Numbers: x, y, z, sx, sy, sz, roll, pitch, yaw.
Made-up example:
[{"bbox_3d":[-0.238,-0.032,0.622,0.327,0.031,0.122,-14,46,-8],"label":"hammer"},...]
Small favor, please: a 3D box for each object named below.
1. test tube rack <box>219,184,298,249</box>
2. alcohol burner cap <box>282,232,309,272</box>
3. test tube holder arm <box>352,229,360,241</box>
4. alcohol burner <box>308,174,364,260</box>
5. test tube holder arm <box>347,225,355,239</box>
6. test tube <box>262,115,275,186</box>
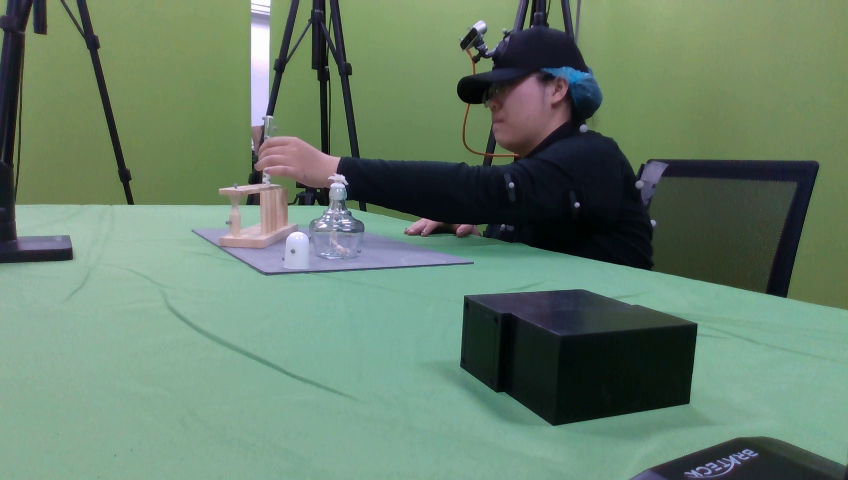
[{"bbox_3d":[-0.266,-0.046,1.002,0.067,0.085,0.242,2,7,0],"label":"test tube rack"},{"bbox_3d":[-0.157,0.014,0.740,0.034,0.048,0.034,3,6,0],"label":"alcohol burner cap"},{"bbox_3d":[-0.119,-0.010,1.040,0.010,0.015,0.087,29,1,-10],"label":"test tube holder arm"},{"bbox_3d":[-0.121,-0.033,0.841,0.078,0.119,0.078,3,5,0],"label":"alcohol burner"},{"bbox_3d":[-0.130,-0.016,1.084,0.013,0.015,0.178,30,1,-9],"label":"test tube holder arm"},{"bbox_3d":[-0.275,-0.144,1.066,0.017,0.150,0.017,5,7,0],"label":"test tube"}]
